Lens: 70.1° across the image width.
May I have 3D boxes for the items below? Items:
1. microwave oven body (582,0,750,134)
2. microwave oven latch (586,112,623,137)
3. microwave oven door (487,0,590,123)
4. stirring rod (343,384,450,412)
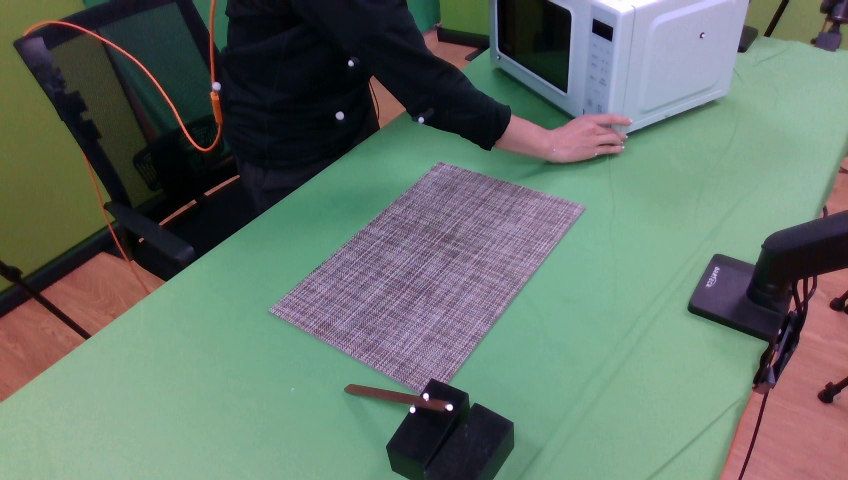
[{"bbox_3d":[0.382,-0.445,1.246,0.327,0.261,0.437,-22,42,-16],"label":"microwave oven body"},{"bbox_3d":[0.339,-0.223,1.142,0.030,0.029,0.078,-18,41,-11],"label":"microwave oven latch"},{"bbox_3d":[0.232,-0.420,1.231,0.039,0.245,0.352,-22,42,-16],"label":"microwave oven door"},{"bbox_3d":[-0.037,0.185,0.715,0.175,0.006,0.014,-4,22,43],"label":"stirring rod"}]
